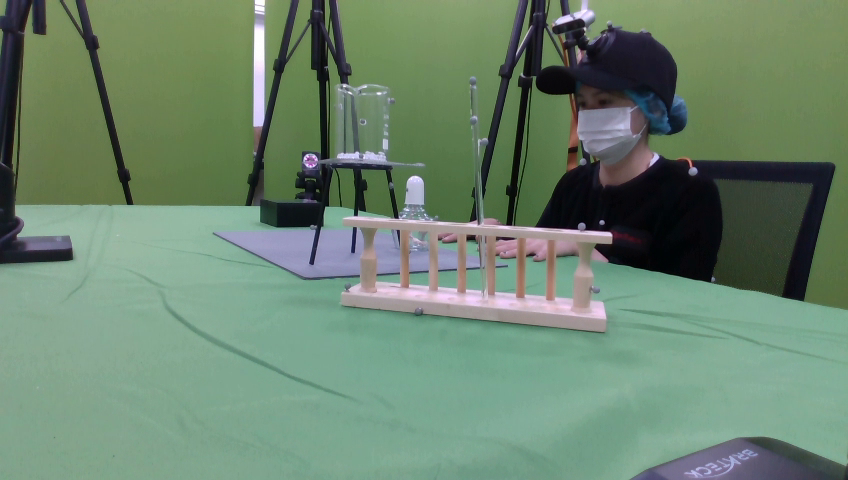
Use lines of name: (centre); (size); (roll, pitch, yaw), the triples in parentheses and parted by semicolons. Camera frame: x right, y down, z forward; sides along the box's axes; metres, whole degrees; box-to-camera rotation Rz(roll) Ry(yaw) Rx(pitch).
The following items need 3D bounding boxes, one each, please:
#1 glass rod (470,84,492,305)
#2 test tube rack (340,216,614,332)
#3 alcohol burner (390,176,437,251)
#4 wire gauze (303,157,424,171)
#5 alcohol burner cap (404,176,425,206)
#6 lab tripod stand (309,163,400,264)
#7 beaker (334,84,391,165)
glass rod: (0.051, -0.036, 0.535); (0.008, 0.199, 0.008); (-5, 10, 1)
test tube rack: (0.048, 0.026, 0.568); (0.242, 0.085, 0.067); (4, 8, 13)
alcohol burner: (-0.016, -0.042, 0.955); (0.078, 0.119, 0.078); (4, 5, 0)
wire gauze: (-0.082, -0.101, 0.799); (0.126, 0.011, 0.121); (1, 7, -30)
alcohol burner cap: (-0.015, -0.077, 0.951); (0.034, 0.048, 0.034); (2, 4, 0)
lab tripod stand: (-0.091, -0.037, 0.813); (0.148, 0.131, 0.148); (1, 6, 0)
beaker: (-0.082, -0.149, 0.792); (0.074, 0.100, 0.084); (2, 5, 5)
